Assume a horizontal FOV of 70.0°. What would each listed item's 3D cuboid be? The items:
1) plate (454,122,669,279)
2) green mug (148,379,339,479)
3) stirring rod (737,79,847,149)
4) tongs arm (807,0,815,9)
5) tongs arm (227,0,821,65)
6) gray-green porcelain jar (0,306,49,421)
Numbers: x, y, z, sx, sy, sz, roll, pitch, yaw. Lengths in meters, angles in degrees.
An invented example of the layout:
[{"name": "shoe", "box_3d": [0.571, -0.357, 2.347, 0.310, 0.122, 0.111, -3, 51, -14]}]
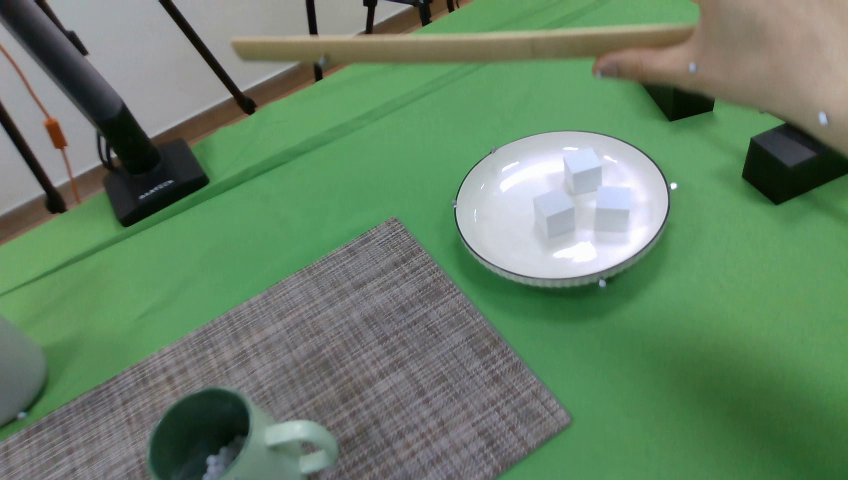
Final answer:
[{"name": "plate", "box_3d": [0.136, -0.040, 0.613, 0.207, 0.039, 0.205, -7, 48, 9]}, {"name": "green mug", "box_3d": [-0.128, 0.161, 0.458, 0.125, 0.106, 0.091, -14, 47, 3]}, {"name": "stirring rod", "box_3d": [0.361, -0.107, 0.558, 0.006, 0.014, 0.174, -27, 48, -13]}, {"name": "tongs arm", "box_3d": [0.067, -0.206, 0.425, 0.383, 0.027, 0.050, 12, 73, 15]}, {"name": "tongs arm", "box_3d": [0.050, -0.135, 0.404, 0.387, 0.028, 0.028, 1, 66, 11]}, {"name": "gray-green porcelain jar", "box_3d": [-0.438, 0.110, 0.576, 0.106, 0.128, 0.105, -7, 48, 9]}]
